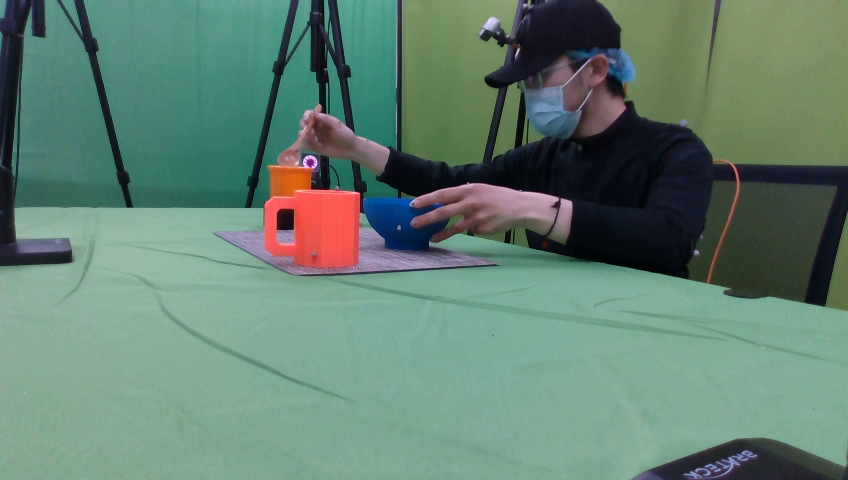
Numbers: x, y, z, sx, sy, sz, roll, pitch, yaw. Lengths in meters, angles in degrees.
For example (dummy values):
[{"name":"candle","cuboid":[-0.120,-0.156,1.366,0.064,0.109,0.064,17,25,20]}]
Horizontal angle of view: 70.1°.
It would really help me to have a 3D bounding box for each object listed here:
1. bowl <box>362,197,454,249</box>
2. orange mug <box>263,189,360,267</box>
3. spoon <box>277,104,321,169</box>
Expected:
[{"name":"bowl","cuboid":[-0.027,-0.029,0.991,0.151,0.077,0.151,2,7,0]},{"name":"orange mug","cuboid":[-0.147,-0.019,0.794,0.127,0.100,0.083,5,6,-19]},{"name":"spoon","cuboid":[-0.251,-0.217,1.252,0.042,0.193,0.021,23,-30,-4]}]
